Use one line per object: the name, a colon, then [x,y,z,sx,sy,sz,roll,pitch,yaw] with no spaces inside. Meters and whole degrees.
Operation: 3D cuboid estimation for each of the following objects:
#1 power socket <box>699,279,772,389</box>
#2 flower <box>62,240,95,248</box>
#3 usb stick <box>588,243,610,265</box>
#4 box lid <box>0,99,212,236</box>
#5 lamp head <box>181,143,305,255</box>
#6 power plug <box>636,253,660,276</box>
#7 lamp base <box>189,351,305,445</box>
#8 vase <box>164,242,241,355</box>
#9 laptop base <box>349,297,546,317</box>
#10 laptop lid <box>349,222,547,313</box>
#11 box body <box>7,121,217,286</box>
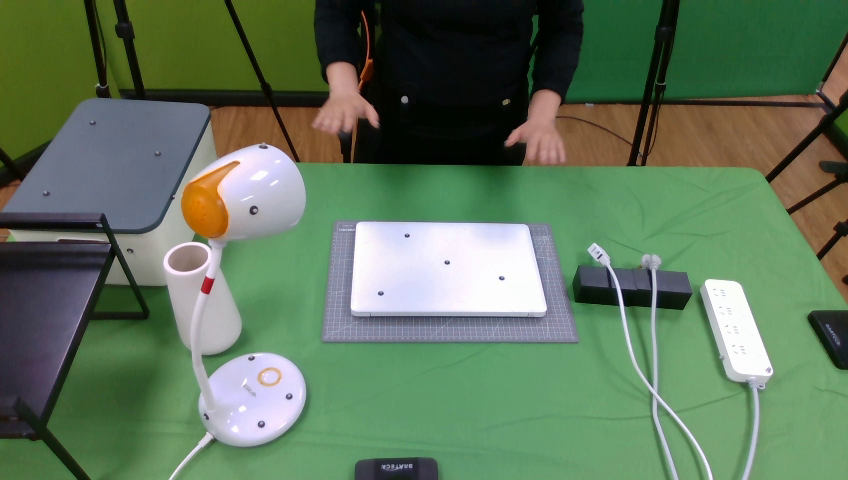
power socket: [0.551,0.157,1.081,0.072,0.033,0.225,5,46,1]
flower: [-0.557,-0.053,1.195,0.044,0.038,0.361,47,54,2]
usb stick: [0.336,0.024,1.172,0.027,0.021,0.059,33,16,-12]
box lid: [-0.556,-0.143,1.090,0.263,0.015,0.369,2,46,-1]
lamp head: [-0.216,-0.044,0.697,0.112,0.113,0.123,23,31,17]
power plug: [0.415,0.050,1.139,0.035,0.053,0.072,46,48,11]
lamp base: [-0.268,0.196,0.876,0.160,0.181,0.179,26,52,20]
vase: [-0.349,0.096,0.954,0.098,0.201,0.097,3,47,-3]
laptop base: [0.040,0.055,1.149,0.355,0.023,0.234,1,42,-4]
laptop lid: [0.041,0.046,1.143,0.357,0.013,0.240,2,43,-3]
box body: [-0.560,-0.092,1.145,0.254,0.161,0.361,3,46,-2]
